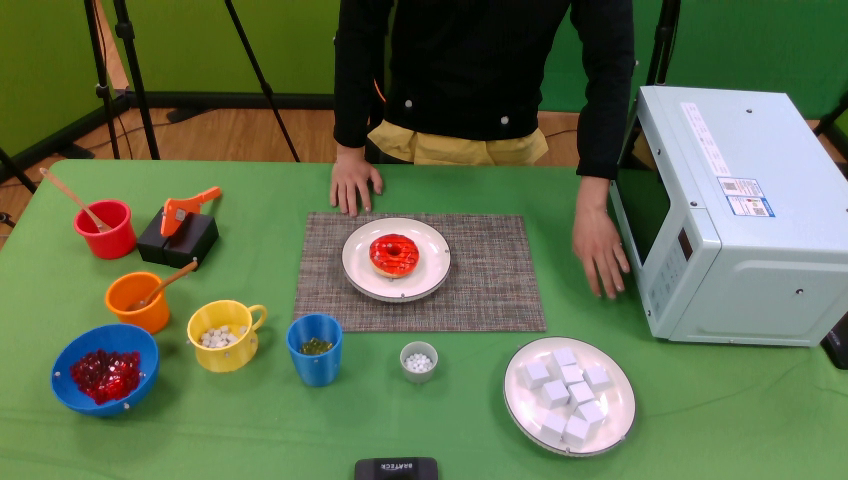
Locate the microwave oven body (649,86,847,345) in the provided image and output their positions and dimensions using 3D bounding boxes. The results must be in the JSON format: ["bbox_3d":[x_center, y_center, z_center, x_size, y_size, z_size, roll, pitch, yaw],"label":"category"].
[{"bbox_3d":[0.568,-0.053,1.119,0.326,0.261,0.439,2,45,-1],"label":"microwave oven body"}]

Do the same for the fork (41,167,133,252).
[{"bbox_3d":[-0.624,-0.056,1.121,0.208,0.018,0.028,49,52,-15],"label":"fork"}]

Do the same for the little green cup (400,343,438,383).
[{"bbox_3d":[-0.010,0.202,0.991,0.061,0.039,0.061,2,47,-2],"label":"little green cup"}]

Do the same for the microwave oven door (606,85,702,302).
[{"bbox_3d":[0.423,-0.094,1.140,0.039,0.245,0.353,2,46,-1],"label":"microwave oven door"}]

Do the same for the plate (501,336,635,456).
[{"bbox_3d":[0.225,0.248,0.963,0.208,0.039,0.206,2,46,-2],"label":"plate"}]

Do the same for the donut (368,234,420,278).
[{"bbox_3d":[-0.057,0.030,1.134,0.099,0.048,0.098,4,46,-4],"label":"donut"}]

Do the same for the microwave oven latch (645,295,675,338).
[{"bbox_3d":[0.412,0.134,1.062,0.030,0.029,0.078,3,45,0],"label":"microwave oven latch"}]

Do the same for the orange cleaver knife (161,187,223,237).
[{"bbox_3d":[-0.448,-0.058,1.181,0.012,0.077,0.211,13,17,6],"label":"orange cleaver knife"}]

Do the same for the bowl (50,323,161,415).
[{"bbox_3d":[-0.472,0.209,0.924,0.151,0.077,0.150,3,45,-2],"label":"bowl"}]

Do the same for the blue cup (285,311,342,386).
[{"bbox_3d":[-0.170,0.179,0.958,0.093,0.101,0.092,2,44,-1],"label":"blue cup"}]

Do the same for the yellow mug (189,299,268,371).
[{"bbox_3d":[-0.316,0.148,1.002,0.131,0.064,0.099,-32,56,-31],"label":"yellow mug"}]

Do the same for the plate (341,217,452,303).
[{"bbox_3d":[-0.052,0.040,1.140,0.209,0.038,0.208,2,46,-2],"label":"plate"}]

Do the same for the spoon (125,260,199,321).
[{"bbox_3d":[-0.434,0.083,1.000,0.022,0.194,0.041,34,34,-35],"label":"spoon"}]
